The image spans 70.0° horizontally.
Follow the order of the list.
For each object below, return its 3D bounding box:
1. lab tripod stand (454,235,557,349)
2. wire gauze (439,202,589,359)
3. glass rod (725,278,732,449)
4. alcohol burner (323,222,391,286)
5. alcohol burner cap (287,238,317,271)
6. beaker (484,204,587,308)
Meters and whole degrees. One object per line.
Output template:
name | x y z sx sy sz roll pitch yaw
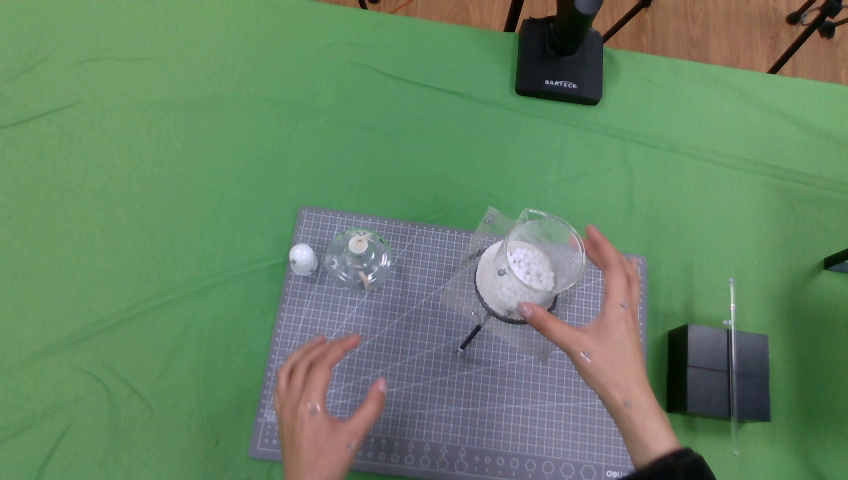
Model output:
lab tripod stand | 0.092 0.056 0.682 0.148 0.132 0.147 2 71 -6
wire gauze | 0.093 0.038 0.619 0.125 0.011 0.121 30 73 0
glass rod | 0.353 0.139 0.703 0.008 0.008 0.198 10 73 -3
alcohol burner | -0.075 0.011 0.688 0.078 0.119 0.077 2 72 -7
alcohol burner cap | -0.145 0.015 0.717 0.034 0.048 0.033 2 71 -4
beaker | 0.099 0.020 0.574 0.074 0.100 0.083 -15 74 -11
